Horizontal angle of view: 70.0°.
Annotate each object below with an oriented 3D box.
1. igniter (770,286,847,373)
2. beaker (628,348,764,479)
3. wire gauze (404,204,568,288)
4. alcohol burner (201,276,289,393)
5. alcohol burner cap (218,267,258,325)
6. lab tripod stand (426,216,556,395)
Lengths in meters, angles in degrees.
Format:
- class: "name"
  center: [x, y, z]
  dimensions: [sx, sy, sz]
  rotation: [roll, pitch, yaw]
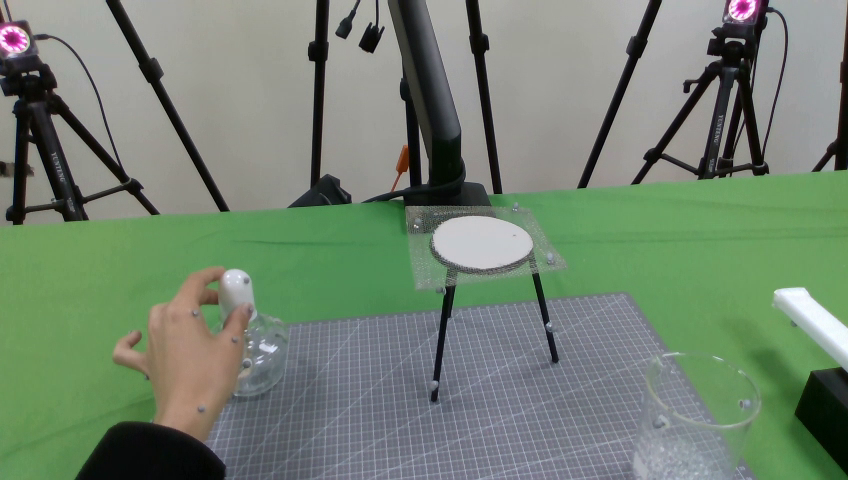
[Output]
- class: "igniter"
  center: [0.355, 0.115, 0.460]
  dimensions: [0.057, 0.025, 0.274]
  rotation: [-4, 28, -2]
- class: "beaker"
  center: [0.189, 0.139, 0.442]
  dimensions: [0.074, 0.101, 0.083]
  rotation: [-14, 33, -19]
- class: "wire gauze"
  center: [0.046, -0.001, 0.516]
  dimensions: [0.121, 0.011, 0.124]
  rotation: [-3, 31, -5]
- class: "alcohol burner"
  center: [-0.163, 0.078, 0.543]
  dimensions: [0.078, 0.120, 0.077]
  rotation: [0, 33, 0]
- class: "alcohol burner cap"
  center: [-0.162, 0.045, 0.525]
  dimensions: [0.034, 0.048, 0.033]
  rotation: [3, 27, -1]
- class: "lab tripod stand"
  center: [0.053, 0.054, 0.555]
  dimensions: [0.148, 0.132, 0.147]
  rotation: [0, 30, 0]
